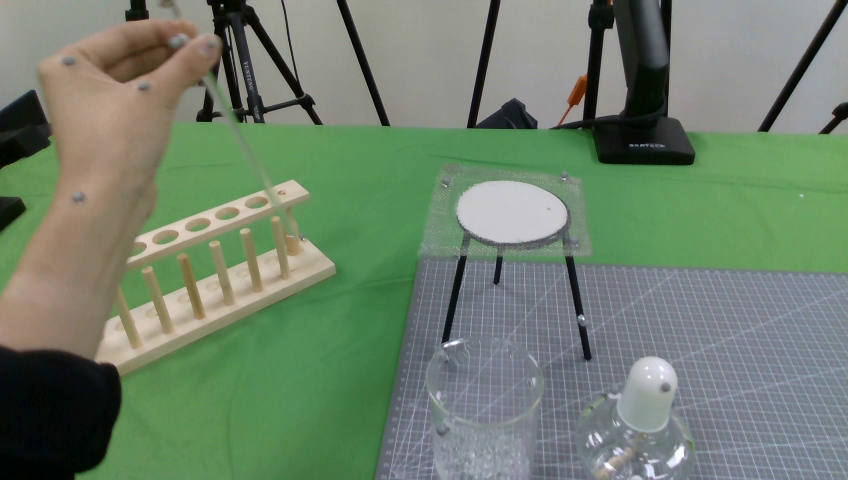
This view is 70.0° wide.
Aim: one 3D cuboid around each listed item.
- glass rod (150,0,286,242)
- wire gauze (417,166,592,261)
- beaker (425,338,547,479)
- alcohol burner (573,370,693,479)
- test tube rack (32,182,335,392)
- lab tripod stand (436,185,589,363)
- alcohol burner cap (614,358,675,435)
[{"bbox_3d":[-0.128,-0.076,0.377,0.008,0.202,0.008,-12,37,9],"label":"glass rod"},{"bbox_3d":[0.063,-0.022,0.467,0.121,0.011,0.124,4,37,7],"label":"wire gauze"},{"bbox_3d":[0.038,0.126,0.409,0.074,0.101,0.083,-27,42,-30],"label":"beaker"},{"bbox_3d":[0.139,0.123,0.396,0.078,0.120,0.077,-1,38,1],"label":"alcohol burner"},{"bbox_3d":[-0.209,0.035,0.564,0.243,0.086,0.066,-26,42,-29],"label":"test tube rack"},{"bbox_3d":[0.074,0.032,0.508,0.148,0.132,0.147,0,35,0],"label":"lab tripod stand"},{"bbox_3d":[0.139,0.094,0.375,0.034,0.048,0.033,1,38,0],"label":"alcohol burner cap"}]
